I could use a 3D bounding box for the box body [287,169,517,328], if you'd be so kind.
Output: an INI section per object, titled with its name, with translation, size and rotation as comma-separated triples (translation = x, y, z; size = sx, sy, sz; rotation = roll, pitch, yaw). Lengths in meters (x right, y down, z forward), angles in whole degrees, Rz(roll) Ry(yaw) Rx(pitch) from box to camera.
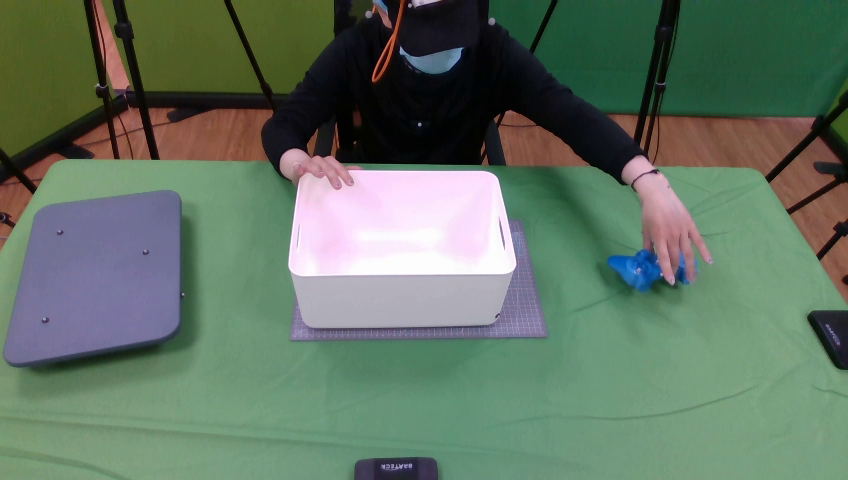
[box body]
translation = -0.040, 0.015, 1.075
size = 0.364, 0.161, 0.252
rotation = -1, 47, -4

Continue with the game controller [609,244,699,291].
[game controller]
translation = 0.438, 0.041, 1.135
size = 0.155, 0.052, 0.096
rotation = -8, 43, -13

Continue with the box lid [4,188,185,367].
[box lid]
translation = -0.558, 0.048, 1.060
size = 0.264, 0.015, 0.369
rotation = -10, 48, -12
